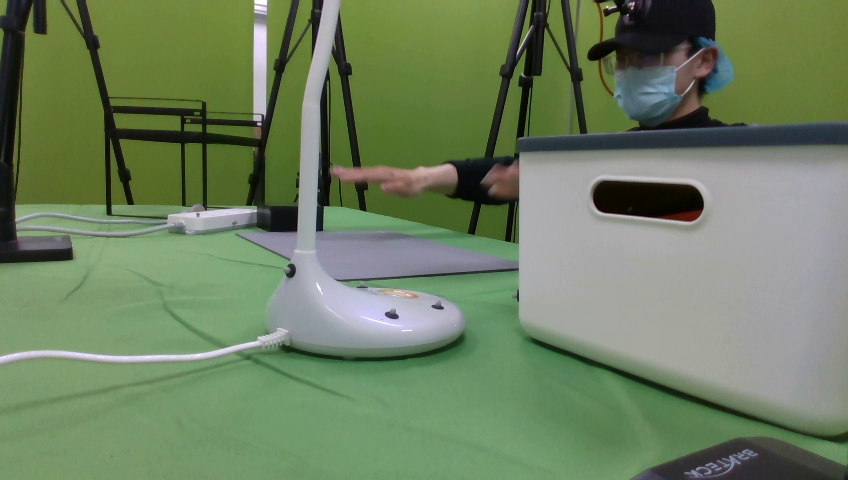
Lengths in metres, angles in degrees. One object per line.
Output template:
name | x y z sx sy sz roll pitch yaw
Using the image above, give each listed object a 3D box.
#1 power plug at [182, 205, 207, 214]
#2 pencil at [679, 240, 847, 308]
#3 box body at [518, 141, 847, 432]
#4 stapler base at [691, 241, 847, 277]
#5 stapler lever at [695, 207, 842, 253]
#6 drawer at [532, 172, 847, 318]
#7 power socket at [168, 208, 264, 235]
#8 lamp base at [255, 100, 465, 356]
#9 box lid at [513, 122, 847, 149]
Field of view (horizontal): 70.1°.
power plug | -0.456 -0.041 1.195 0.052 0.035 0.072 0 39 24
pencil | 0.249 0.019 0.463 0.012 0.012 0.193 1 11 -8
box body | 0.278 0.005 0.486 0.366 0.160 0.253 -3 9 -36
stapler base | 0.271 0.014 0.486 0.041 0.024 0.130 -13 3 -19
stapler lever | 0.268 -0.009 0.484 0.027 0.040 0.117 -14 2 -19
drawer | 0.226 0.004 0.467 0.213 0.073 0.193 -13 2 -35
power socket | -0.381 -0.038 1.129 0.072 0.032 0.227 4 8 17
lamp base | -0.051 -0.014 0.466 0.160 0.180 0.180 7 11 34
box lid | 0.282 -0.068 0.478 0.374 0.015 0.262 -3 9 -36
